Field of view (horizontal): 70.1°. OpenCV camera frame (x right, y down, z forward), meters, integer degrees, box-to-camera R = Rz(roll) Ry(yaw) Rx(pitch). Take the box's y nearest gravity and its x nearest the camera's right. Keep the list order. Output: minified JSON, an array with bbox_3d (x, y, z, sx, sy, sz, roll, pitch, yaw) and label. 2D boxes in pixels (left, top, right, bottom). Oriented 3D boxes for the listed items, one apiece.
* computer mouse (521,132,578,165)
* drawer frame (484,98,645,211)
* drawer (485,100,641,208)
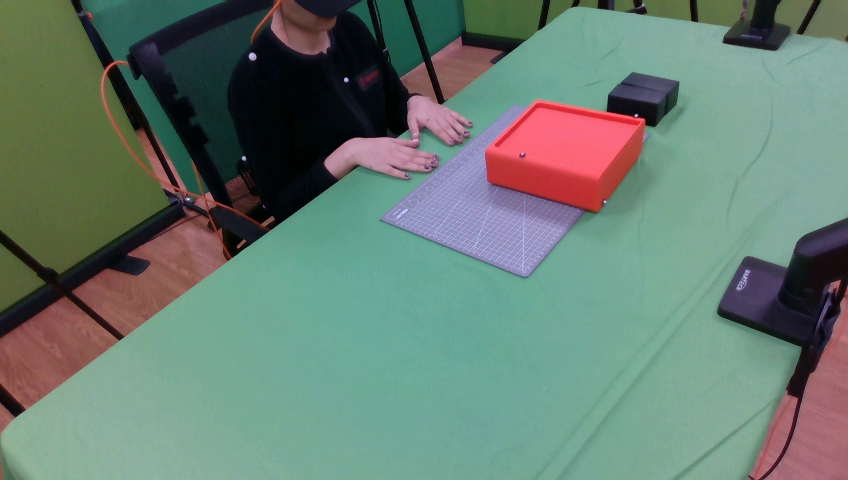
[{"bbox_3d":[0.229,-0.172,1.096,0.062,0.041,0.118,22,35,34],"label":"computer mouse"},{"bbox_3d":[0.248,-0.158,1.070,0.212,0.083,0.202,20,47,29],"label":"drawer frame"},{"bbox_3d":[0.246,-0.158,1.072,0.210,0.073,0.195,20,47,30],"label":"drawer"}]
